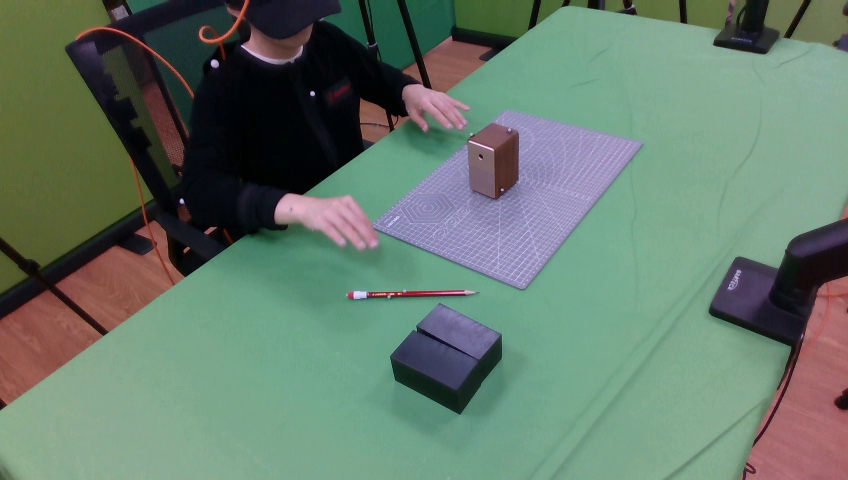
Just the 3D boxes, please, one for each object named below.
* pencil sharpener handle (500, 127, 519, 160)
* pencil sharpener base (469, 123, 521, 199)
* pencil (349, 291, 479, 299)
[{"bbox_3d":[0.157,-0.175,1.069,0.035,0.068,0.031,31,53,29],"label":"pencil sharpener handle"},{"bbox_3d":[0.126,-0.138,1.049,0.061,0.107,0.077,26,50,34],"label":"pencil sharpener base"},{"bbox_3d":[-0.015,0.082,0.894,0.194,0.012,0.012,-1,41,6],"label":"pencil"}]
